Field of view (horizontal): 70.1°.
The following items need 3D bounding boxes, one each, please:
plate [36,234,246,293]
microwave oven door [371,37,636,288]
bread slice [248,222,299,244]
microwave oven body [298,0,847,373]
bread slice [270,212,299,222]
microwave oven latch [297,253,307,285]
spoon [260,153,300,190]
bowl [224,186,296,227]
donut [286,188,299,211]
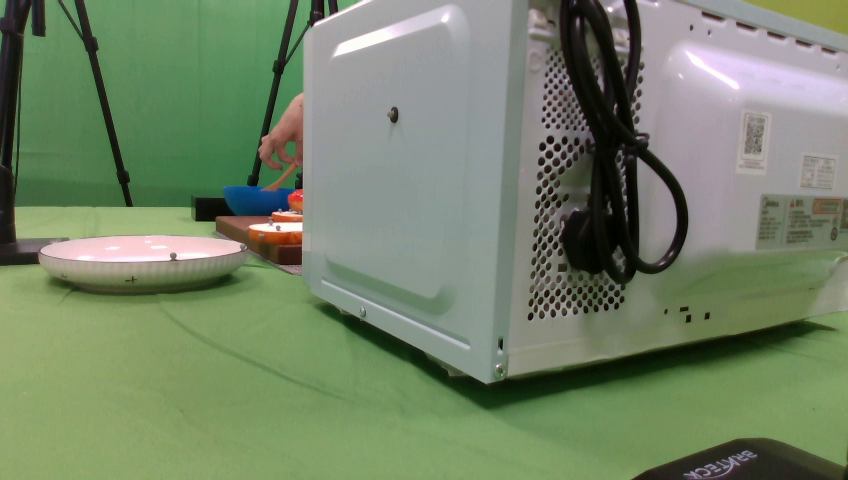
[{"bbox_3d":[-0.305,0.026,0.668,0.208,0.039,0.207,3,7,0],"label":"plate"},{"bbox_3d":[0.109,-0.080,0.686,0.358,0.243,0.039,-2,9,-33],"label":"microwave oven door"},{"bbox_3d":[-0.174,-0.012,0.844,0.135,0.018,0.106,-6,10,-44],"label":"bread slice"},{"bbox_3d":[0.151,-0.055,0.543,0.444,0.260,0.324,-2,7,-33],"label":"microwave oven body"},{"bbox_3d":[-0.198,-0.038,1.051,0.132,0.019,0.104,0,6,-31],"label":"bread slice"},{"bbox_3d":[-0.082,0.027,0.582,0.079,0.029,0.030,-1,7,-32],"label":"microwave oven latch"},{"bbox_3d":[-0.297,-0.135,1.278,0.042,0.194,0.021,43,-10,-14],"label":"spoon"},{"bbox_3d":[-0.329,-0.068,1.230,0.151,0.077,0.151,3,7,0],"label":"bowl"},{"bbox_3d":[-0.190,-0.068,1.055,0.099,0.048,0.099,3,6,0],"label":"donut"}]
